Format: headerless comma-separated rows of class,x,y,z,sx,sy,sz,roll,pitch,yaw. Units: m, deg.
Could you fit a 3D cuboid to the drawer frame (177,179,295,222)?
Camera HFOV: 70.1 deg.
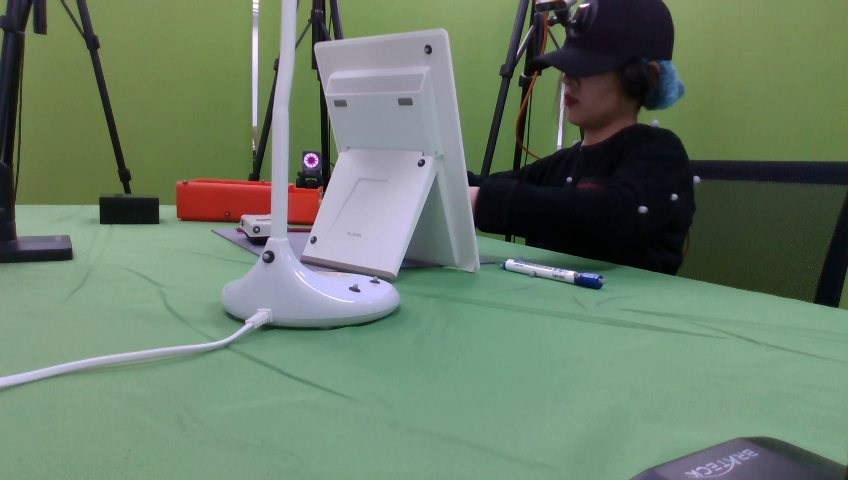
drawer frame,-0.397,-0.088,1.315,0.214,0.082,0.201,1,8,-7

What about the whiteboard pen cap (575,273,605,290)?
whiteboard pen cap,0.197,0.048,0.719,0.018,0.018,0.033,-4,11,-41

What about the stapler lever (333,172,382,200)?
stapler lever,-0.135,-0.109,1.240,0.026,0.040,0.119,18,5,43

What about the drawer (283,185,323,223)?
drawer,-0.329,-0.085,1.325,0.212,0.073,0.194,1,8,-7

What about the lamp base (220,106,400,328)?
lamp base,-0.101,-0.023,0.531,0.160,0.180,0.179,4,10,10

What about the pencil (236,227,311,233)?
pencil,-0.239,-0.017,1.093,0.195,0.012,0.012,1,7,-27

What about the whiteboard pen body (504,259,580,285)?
whiteboard pen body,0.157,0.042,0.764,0.017,0.017,0.140,-4,11,-41

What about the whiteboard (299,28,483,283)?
whiteboard,-0.075,-0.082,0.741,0.216,0.305,0.144,9,30,38

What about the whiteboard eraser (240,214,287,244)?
whiteboard eraser,-0.256,-0.018,0.958,0.056,0.042,0.112,0,8,-25

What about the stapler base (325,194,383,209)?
stapler base,-0.141,-0.085,1.240,0.041,0.024,0.131,18,6,43
